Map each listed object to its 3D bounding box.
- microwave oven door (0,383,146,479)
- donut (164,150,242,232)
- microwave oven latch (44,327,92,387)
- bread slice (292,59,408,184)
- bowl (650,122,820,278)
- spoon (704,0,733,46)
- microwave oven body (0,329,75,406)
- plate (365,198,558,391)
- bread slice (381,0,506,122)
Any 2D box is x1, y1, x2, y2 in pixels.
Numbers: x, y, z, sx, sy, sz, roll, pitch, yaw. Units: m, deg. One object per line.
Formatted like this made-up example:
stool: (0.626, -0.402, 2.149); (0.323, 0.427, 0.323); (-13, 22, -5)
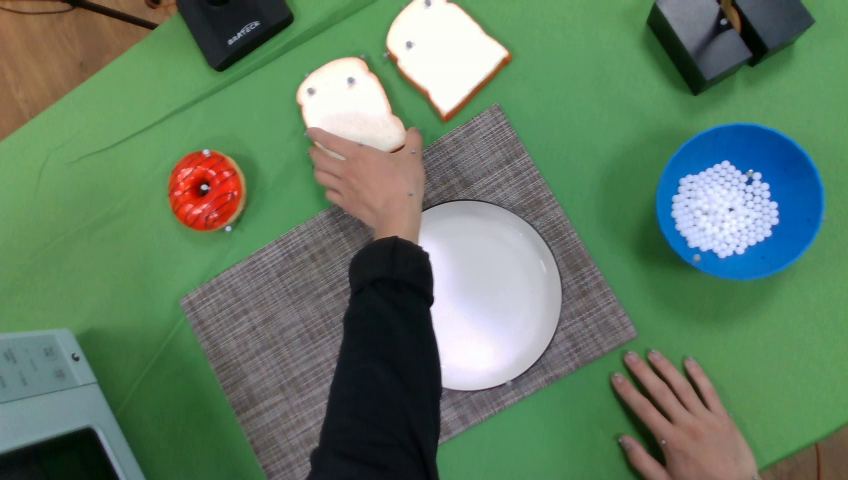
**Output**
microwave oven door: (-0.340, 0.321, 0.598); (0.039, 0.244, 0.354); (-33, 82, 6)
donut: (-0.265, -0.059, 0.726); (0.099, 0.048, 0.099); (-1, 87, 12)
microwave oven latch: (-0.434, 0.143, 0.728); (0.030, 0.029, 0.079); (-32, 83, 6)
bread slice: (-0.095, -0.144, 0.714); (0.107, 0.018, 0.134); (-31, 82, 6)
bowl: (0.299, -0.035, 0.609); (0.151, 0.077, 0.151); (-1, 86, 10)
spoon: (0.279, -0.223, 0.565); (0.021, 0.194, 0.041); (-30, 79, 21)
microwave oven body: (-0.484, 0.364, 0.625); (0.326, 0.261, 0.440); (-33, 82, 6)
plate: (0.041, 0.059, 0.665); (0.207, 0.039, 0.207); (-1, 87, 10)
bread slice: (0.012, -0.217, 0.701); (0.105, 0.019, 0.131); (-45, 82, 4)
